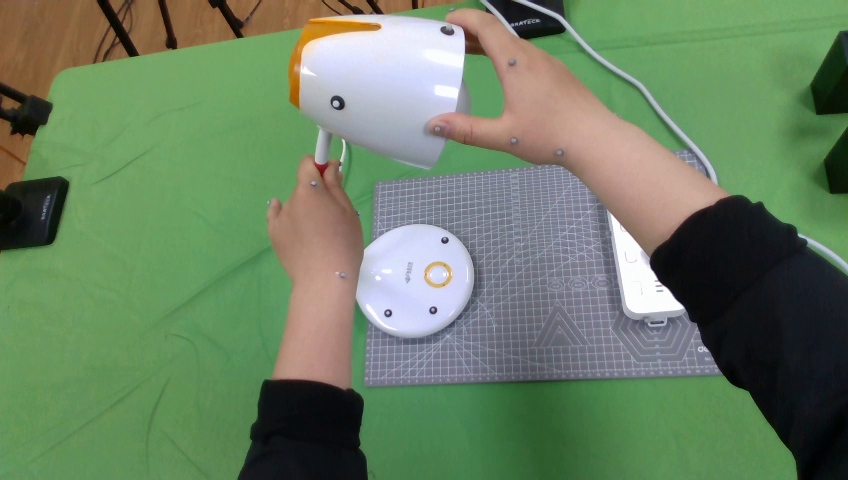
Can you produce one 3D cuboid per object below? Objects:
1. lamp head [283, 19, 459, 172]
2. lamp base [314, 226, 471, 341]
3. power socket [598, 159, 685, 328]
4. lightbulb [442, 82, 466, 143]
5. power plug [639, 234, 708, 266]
[{"bbox_3d":[-0.045,-0.114,0.463,0.123,0.113,0.111,6,66,-9],"label":"lamp head"},{"bbox_3d":[-0.046,0.026,0.732,0.179,0.182,0.159,-10,64,12],"label":"lamp base"},{"bbox_3d":[0.268,-0.004,0.755,0.072,0.033,0.225,-6,65,9],"label":"power socket"},{"bbox_3d":[-0.020,-0.109,0.461,0.108,0.059,0.059,17,69,-11],"label":"lightbulb"},{"bbox_3d":[0.294,0.016,0.720,0.072,0.053,0.035,5,69,12],"label":"power plug"}]
